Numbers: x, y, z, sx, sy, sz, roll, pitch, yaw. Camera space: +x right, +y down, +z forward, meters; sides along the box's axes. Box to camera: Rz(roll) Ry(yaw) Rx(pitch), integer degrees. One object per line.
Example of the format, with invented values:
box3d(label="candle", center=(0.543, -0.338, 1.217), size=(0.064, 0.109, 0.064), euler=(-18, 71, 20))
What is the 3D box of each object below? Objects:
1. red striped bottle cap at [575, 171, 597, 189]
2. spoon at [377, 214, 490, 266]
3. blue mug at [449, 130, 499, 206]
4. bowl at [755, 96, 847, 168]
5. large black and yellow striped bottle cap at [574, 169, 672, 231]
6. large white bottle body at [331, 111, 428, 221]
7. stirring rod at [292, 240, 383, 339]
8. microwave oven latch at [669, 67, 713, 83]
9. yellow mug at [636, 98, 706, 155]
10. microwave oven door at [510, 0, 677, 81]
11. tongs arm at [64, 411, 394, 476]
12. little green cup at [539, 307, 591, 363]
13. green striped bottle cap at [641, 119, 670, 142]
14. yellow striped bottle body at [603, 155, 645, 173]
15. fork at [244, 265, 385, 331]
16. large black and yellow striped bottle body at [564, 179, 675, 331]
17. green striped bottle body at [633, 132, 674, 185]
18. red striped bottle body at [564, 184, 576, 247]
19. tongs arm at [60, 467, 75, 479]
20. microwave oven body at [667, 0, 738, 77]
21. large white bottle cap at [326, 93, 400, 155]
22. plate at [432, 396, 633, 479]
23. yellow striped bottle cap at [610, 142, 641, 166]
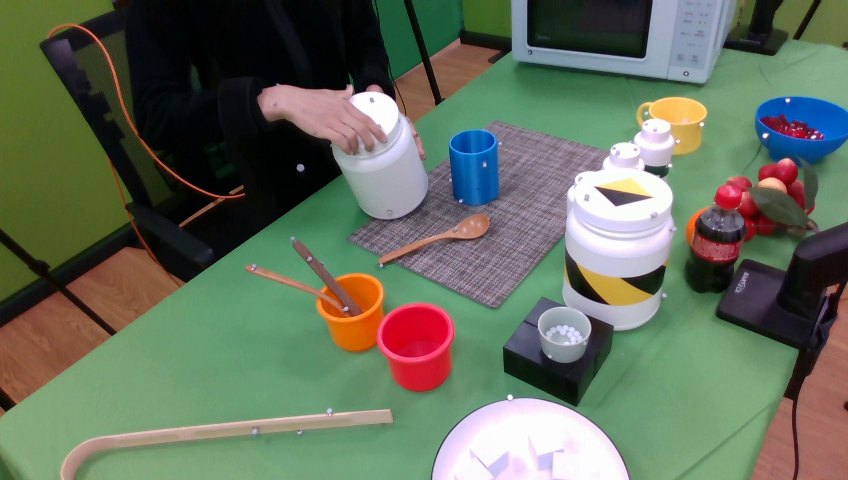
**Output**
box3d(label="red striped bottle cap", center=(0.242, -0.081, 0.876), size=(0.044, 0.018, 0.044), euler=(-5, 44, 5))
box3d(label="spoon", center=(0.015, 0.002, 0.966), size=(0.194, 0.022, 0.041), euler=(-18, 62, -12))
box3d(label="blue mug", center=(0.091, -0.134, 1.052), size=(0.082, 0.106, 0.116), euler=(4, 41, 13))
box3d(label="bowl", center=(0.645, -0.177, 1.041), size=(0.151, 0.077, 0.150), euler=(-5, 40, 4))
box3d(label="large black and yellow striped bottle cap", center=(0.242, -0.051, 0.738), size=(0.115, 0.019, 0.114), euler=(-4, 37, 3))
box3d(label="large white bottle body", center=(-0.074, -0.132, 0.992), size=(0.130, 0.186, 0.130), euler=(-6, 57, 11))
box3d(label="stirring rod", center=(-0.118, 0.068, 0.826), size=(0.176, 0.006, 0.014), euler=(48, 59, -4))
box3d(label="microwave oven latch", center=(0.556, -0.349, 1.261), size=(0.078, 0.029, 0.030), euler=(16, 46, 27))
box3d(label="yellow mug", center=(0.453, -0.217, 1.128), size=(0.100, 0.064, 0.129), euler=(-34, 46, -27))
box3d(label="microwave oven door", center=(0.354, -0.478, 1.290), size=(0.353, 0.245, 0.039), euler=(15, 45, 25))
box3d(label="tongs arm", center=(-0.228, 0.241, 0.715), size=(0.385, 0.026, 0.050), euler=(-5, 44, 4))
box3d(label="little green cup", center=(0.167, 0.114, 0.721), size=(0.061, 0.039, 0.061), euler=(-4, 43, 4))
box3d(label="green striped bottle cap", center=(0.371, -0.175, 0.968), size=(0.044, 0.020, 0.044), euler=(-5, 42, 5))
box3d(label="yellow striped bottle body", center=(0.314, -0.090, 0.957), size=(0.063, 0.121, 0.062), euler=(-4, 40, 4))
box3d(label="fork", center=(-0.142, 0.078, 0.806), size=(0.209, 0.018, 0.028), euler=(30, 33, -24))
box3d(label="large black and yellow striped bottle body", center=(0.253, 0.014, 0.793), size=(0.131, 0.185, 0.130), euler=(-5, 40, 4))
box3d(label="green striped bottle body", center=(0.376, -0.135, 1.001), size=(0.063, 0.120, 0.063), euler=(-5, 40, 5))
box3d(label="red striped bottle body", center=(0.247, -0.041, 0.910), size=(0.063, 0.120, 0.062), euler=(-3, 39, 3))
box3d(label="tongs arm", center=(-0.239, 0.302, 0.649), size=(0.386, 0.028, 0.028), euler=(6, 49, 16))
box3d(label="microwave oven body", center=(0.462, -0.552, 1.369), size=(0.439, 0.261, 0.326), euler=(15, 45, 26))
box3d(label="large white bottle cap", center=(-0.093, -0.178, 0.921), size=(0.114, 0.018, 0.114), euler=(-6, 57, 10))
box3d(label="plate", center=(0.112, 0.261, 0.634), size=(0.209, 0.038, 0.208), euler=(-5, 40, 4))
box3d(label="yellow striped bottle cap", center=(0.309, -0.131, 0.925), size=(0.044, 0.019, 0.044), euler=(-4, 46, 5))
